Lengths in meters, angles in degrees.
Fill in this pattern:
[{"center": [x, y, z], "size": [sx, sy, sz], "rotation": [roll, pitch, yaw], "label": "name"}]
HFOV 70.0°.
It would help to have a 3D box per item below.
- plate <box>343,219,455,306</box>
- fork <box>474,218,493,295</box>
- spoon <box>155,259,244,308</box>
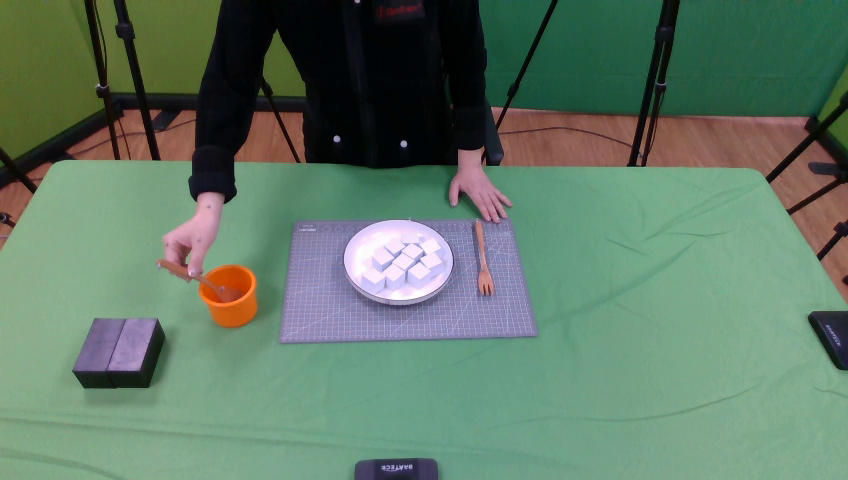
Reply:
[{"center": [-0.047, 0.045, 1.136], "size": [0.208, 0.039, 0.206], "rotation": [2, 46, -2], "label": "plate"}, {"center": [0.112, 0.029, 1.177], "size": [0.028, 0.019, 0.206], "rotation": [-3, 48, 0], "label": "fork"}, {"center": [-0.357, 0.067, 0.979], "size": [0.021, 0.195, 0.041], "rotation": [-20, 59, 12], "label": "spoon"}]
